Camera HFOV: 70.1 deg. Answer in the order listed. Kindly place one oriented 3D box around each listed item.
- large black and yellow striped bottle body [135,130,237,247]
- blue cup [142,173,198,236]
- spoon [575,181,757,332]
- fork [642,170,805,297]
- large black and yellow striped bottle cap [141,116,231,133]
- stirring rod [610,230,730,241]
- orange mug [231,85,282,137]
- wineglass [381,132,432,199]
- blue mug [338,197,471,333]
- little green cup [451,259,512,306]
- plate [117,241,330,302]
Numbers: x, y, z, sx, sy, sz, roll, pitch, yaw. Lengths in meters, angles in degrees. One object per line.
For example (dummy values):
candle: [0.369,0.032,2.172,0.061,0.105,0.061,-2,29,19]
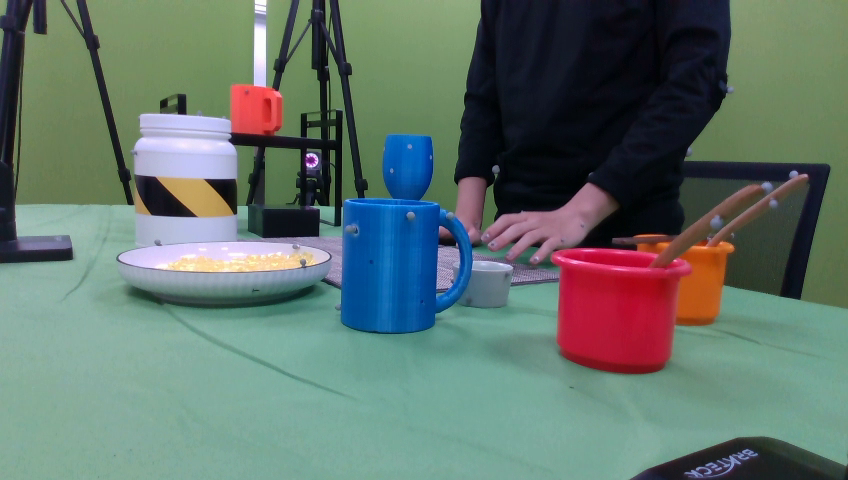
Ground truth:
large black and yellow striped bottle body: [-0.327,-0.074,0.838,0.131,0.184,0.130,2,7,0]
blue cup: [-0.425,-0.060,1.014,0.093,0.100,0.092,4,8,0]
spoon: [0.156,0.020,0.412,0.042,0.021,0.193,1,-36,-16]
fork: [0.261,0.004,0.545,0.028,0.018,0.207,5,-37,-15]
large black and yellow striped bottle cap: [-0.324,-0.157,0.826,0.115,0.019,0.115,1,7,0]
stirring rod: [0.241,-0.005,0.581,0.177,0.006,0.014,-3,9,-34]
orange mug: [-0.335,-0.261,1.225,0.125,0.100,0.084,2,6,35]
wineglass: [-0.026,-0.062,0.841,0.074,0.172,0.073,2,7,0]
blue mug: [-0.016,0.018,0.523,0.117,0.106,0.082,1,7,-13]
little green cup: [0.057,0.043,0.611,0.061,0.038,0.061,3,7,0]
plate: [-0.203,0.031,0.629,0.209,0.038,0.209,3,7,0]
